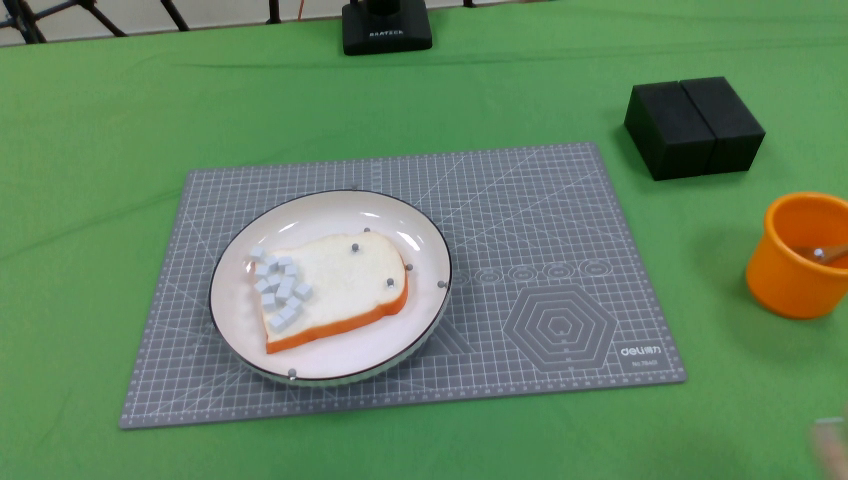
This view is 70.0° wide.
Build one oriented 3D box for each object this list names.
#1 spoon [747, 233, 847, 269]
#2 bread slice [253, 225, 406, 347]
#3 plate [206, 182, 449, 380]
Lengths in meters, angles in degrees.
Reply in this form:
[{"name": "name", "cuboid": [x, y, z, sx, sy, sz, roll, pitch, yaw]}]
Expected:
[{"name": "spoon", "cuboid": [0.354, -0.003, 0.476, 0.041, 0.193, 0.022, -45, 104, -34]}, {"name": "bread slice", "cuboid": [-0.084, 0.031, 0.538, 0.132, 0.019, 0.103, -16, 51, -10]}, {"name": "plate", "cuboid": [-0.081, 0.033, 0.532, 0.209, 0.038, 0.207, -1, 50, 1]}]
